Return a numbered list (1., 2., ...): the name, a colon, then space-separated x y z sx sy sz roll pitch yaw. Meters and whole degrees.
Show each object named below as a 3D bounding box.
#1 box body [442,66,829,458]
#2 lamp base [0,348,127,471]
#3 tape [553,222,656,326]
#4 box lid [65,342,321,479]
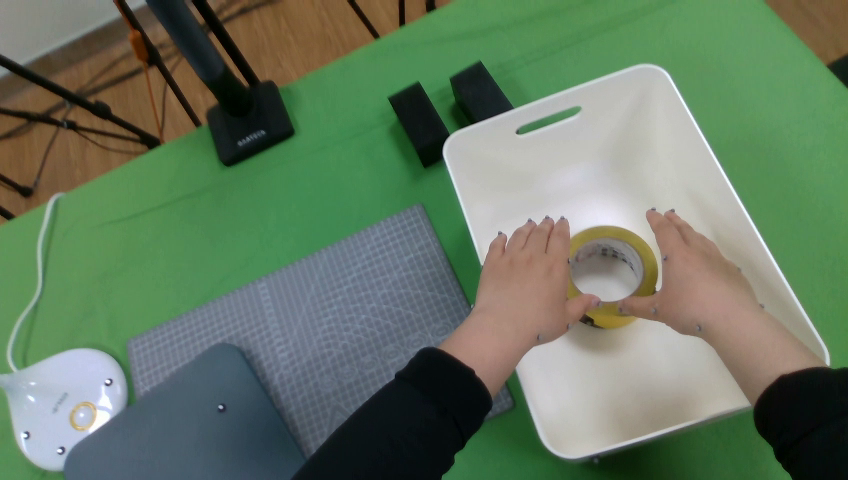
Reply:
1. box body: 0.196 0.028 0.658 0.254 0.162 0.360 -19 64 4
2. lamp base: -0.497 0.189 0.740 0.178 0.182 0.160 11 69 20
3. tape: 0.209 0.038 0.706 0.116 0.053 0.116 -5 66 11
4. box lid: -0.250 0.325 0.709 0.263 0.015 0.368 -37 67 -7
